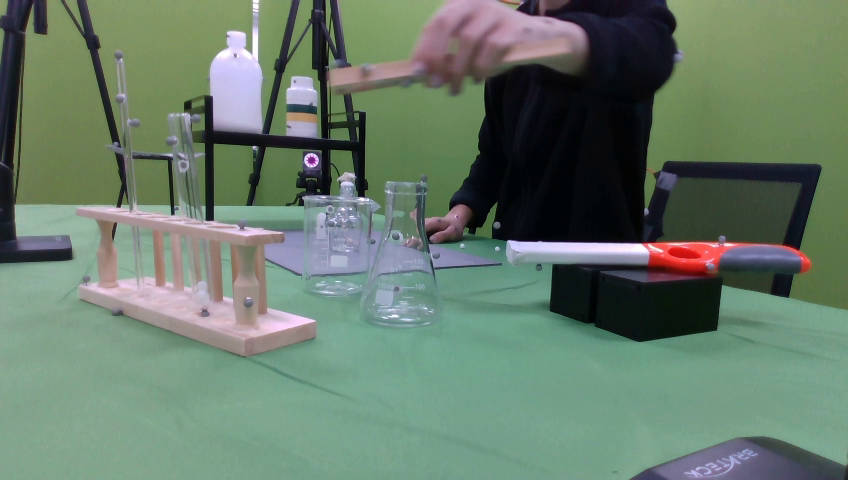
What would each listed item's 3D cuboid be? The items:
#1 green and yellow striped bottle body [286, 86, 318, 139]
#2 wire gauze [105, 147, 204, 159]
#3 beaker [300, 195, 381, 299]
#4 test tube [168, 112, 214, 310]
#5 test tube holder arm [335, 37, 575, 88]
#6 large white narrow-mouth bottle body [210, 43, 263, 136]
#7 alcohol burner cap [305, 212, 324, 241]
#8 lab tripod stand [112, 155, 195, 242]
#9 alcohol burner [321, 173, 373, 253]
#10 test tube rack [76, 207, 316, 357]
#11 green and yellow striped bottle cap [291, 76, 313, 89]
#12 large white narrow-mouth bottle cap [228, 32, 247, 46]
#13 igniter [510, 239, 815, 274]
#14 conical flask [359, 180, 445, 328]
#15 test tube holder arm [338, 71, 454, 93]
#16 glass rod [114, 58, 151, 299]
[{"bbox_3d":[-0.251,-0.270,1.245,0.063,0.119,0.063,3,7,0],"label":"green and yellow striped bottle body"},{"bbox_3d":[-0.408,-0.131,0.929,0.125,0.011,0.121,2,6,-11],"label":"wire gauze"},{"bbox_3d":[-0.087,0.006,0.626,0.084,0.100,0.074,1,8,-17],"label":"beaker"},{"bbox_3d":[-0.175,-0.020,0.455,0.017,0.150,0.017,-4,9,1],"label":"test tube"},{"bbox_3d":[0.022,-0.131,0.449,0.178,0.015,0.013,-7,-9,3],"label":"test tube holder arm"},{"bbox_3d":[-0.369,-0.305,1.193,0.102,0.194,0.102,4,8,0],"label":"large white narrow-mouth bottle body"},{"bbox_3d":[-0.185,-0.023,1.027,0.034,0.048,0.034,2,6,0],"label":"alcohol burner cap"},{"bbox_3d":[-0.405,-0.064,0.931,0.148,0.131,0.148,1,6,0],"label":"lab tripod stand"},{"bbox_3d":[-0.115,-0.041,0.905,0.078,0.119,0.078,1,6,0],"label":"alcohol burner"},{"bbox_3d":[-0.196,0.023,0.500,0.241,0.085,0.067,8,9,36],"label":"test tube rack"},{"bbox_3d":[-0.250,-0.321,1.237,0.045,0.020,0.045,4,4,0],"label":"green and yellow striped bottle cap"},{"bbox_3d":[-0.364,-0.391,1.179,0.038,0.024,0.037,4,8,0],"label":"large white narrow-mouth bottle cap"},{"bbox_3d":[0.220,0.015,0.565,0.277,0.025,0.057,2,16,-1],"label":"igniter"},{"bbox_3d":[-0.017,0.010,0.522,0.075,0.122,0.075,2,7,0],"label":"conical flask"},{"bbox_3d":[-0.022,-0.124,0.457,0.088,0.015,0.010,-7,-9,3],"label":"test tube holder arm"},{"bbox_3d":[-0.237,-0.044,0.492,0.008,0.199,0.008,1,15,0],"label":"glass rod"}]
